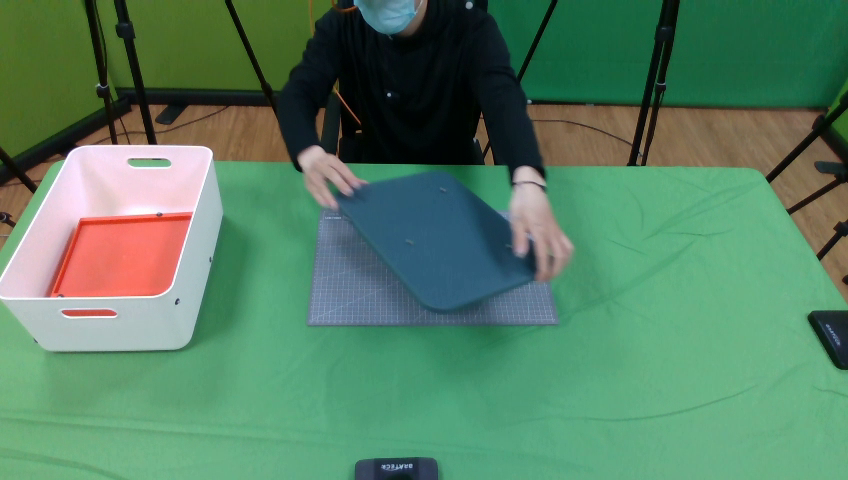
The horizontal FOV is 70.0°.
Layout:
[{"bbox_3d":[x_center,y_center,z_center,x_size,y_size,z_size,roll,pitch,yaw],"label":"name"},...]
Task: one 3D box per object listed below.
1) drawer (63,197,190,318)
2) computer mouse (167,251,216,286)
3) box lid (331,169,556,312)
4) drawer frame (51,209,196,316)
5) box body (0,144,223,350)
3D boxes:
[{"bbox_3d":[-0.513,0.040,1.059,0.212,0.074,0.193,-15,52,3],"label":"drawer"},{"bbox_3d":[-0.417,0.037,1.057,0.063,0.041,0.116,-35,51,-27],"label":"computer mouse"},{"bbox_3d":[0.025,-0.019,1.064,0.264,0.015,0.369,-16,42,-30],"label":"box lid"},{"bbox_3d":[-0.503,0.045,1.066,0.214,0.083,0.200,-5,47,-7],"label":"drawer frame"},{"bbox_3d":[-0.510,0.008,1.054,0.254,0.161,0.361,-1,46,-5],"label":"box body"}]
